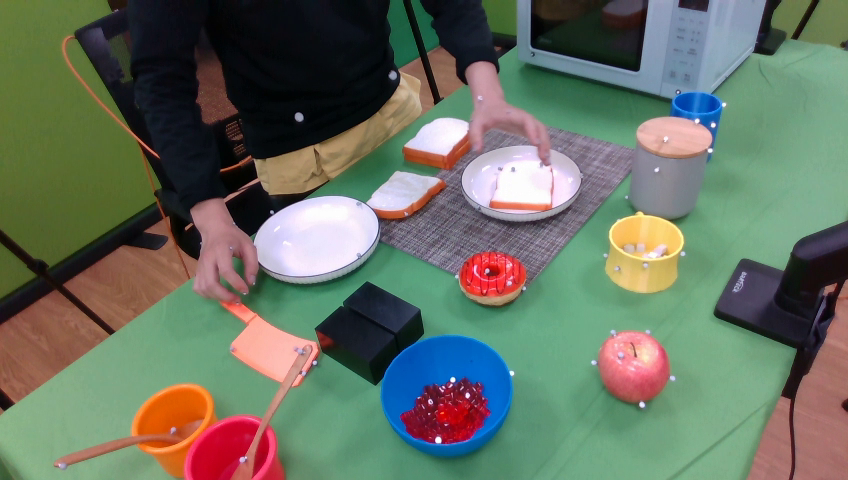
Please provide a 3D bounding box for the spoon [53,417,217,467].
[{"bbox_3d":[-0.308,0.219,0.663,0.041,0.195,0.021,25,94,29],"label":"spoon"}]

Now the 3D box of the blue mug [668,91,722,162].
[{"bbox_3d":[0.474,-0.206,1.079,0.082,0.106,0.116,4,42,13],"label":"blue mug"}]

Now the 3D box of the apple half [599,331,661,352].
[{"bbox_3d":[0.249,0.134,0.738,0.081,0.081,0.032,-1,46,7],"label":"apple half"}]

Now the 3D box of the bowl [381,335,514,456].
[{"bbox_3d":[0.029,0.192,0.701,0.151,0.077,0.150,-4,40,4],"label":"bowl"}]

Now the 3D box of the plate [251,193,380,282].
[{"bbox_3d":[-0.174,-0.001,0.984,0.209,0.038,0.208,-4,40,4],"label":"plate"}]

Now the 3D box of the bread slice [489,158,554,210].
[{"bbox_3d":[0.173,-0.099,1.048,0.104,0.019,0.131,5,44,12],"label":"bread slice"}]

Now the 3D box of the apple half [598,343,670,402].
[{"bbox_3d":[0.247,0.161,0.710,0.081,0.075,0.053,2,47,5],"label":"apple half"}]

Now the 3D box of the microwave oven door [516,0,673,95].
[{"bbox_3d":[0.344,-0.458,1.256,0.353,0.245,0.039,26,51,33],"label":"microwave oven door"}]

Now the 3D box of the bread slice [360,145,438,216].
[{"bbox_3d":[-0.053,-0.103,1.046,0.106,0.018,0.134,19,67,23],"label":"bread slice"}]

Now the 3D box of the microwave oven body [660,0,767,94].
[{"bbox_3d":[0.474,-0.517,1.313,0.438,0.261,0.327,26,51,34],"label":"microwave oven body"}]

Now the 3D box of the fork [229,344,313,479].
[{"bbox_3d":[-0.173,0.205,0.662,0.028,0.019,0.207,29,94,36],"label":"fork"}]

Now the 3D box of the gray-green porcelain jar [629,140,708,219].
[{"bbox_3d":[0.383,-0.105,0.958,0.106,0.127,0.105,-4,41,4],"label":"gray-green porcelain jar"}]

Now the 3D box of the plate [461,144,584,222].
[{"bbox_3d":[0.168,-0.095,1.040,0.207,0.039,0.206,-4,41,4],"label":"plate"}]

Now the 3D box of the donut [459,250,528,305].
[{"bbox_3d":[0.101,0.053,0.873,0.099,0.048,0.098,-5,40,5],"label":"donut"}]

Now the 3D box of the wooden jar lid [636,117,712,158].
[{"bbox_3d":[0.377,-0.151,0.917,0.108,0.021,0.108,-2,42,2],"label":"wooden jar lid"}]

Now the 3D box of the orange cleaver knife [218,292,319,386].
[{"bbox_3d":[-0.235,0.136,0.850,0.209,0.012,0.077,25,56,30],"label":"orange cleaver knife"}]

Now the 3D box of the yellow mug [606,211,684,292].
[{"bbox_3d":[0.318,0.008,0.883,0.100,0.064,0.130,0,40,9],"label":"yellow mug"}]

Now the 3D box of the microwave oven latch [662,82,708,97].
[{"bbox_3d":[0.517,-0.298,1.203,0.078,0.029,0.030,28,53,35],"label":"microwave oven latch"}]
